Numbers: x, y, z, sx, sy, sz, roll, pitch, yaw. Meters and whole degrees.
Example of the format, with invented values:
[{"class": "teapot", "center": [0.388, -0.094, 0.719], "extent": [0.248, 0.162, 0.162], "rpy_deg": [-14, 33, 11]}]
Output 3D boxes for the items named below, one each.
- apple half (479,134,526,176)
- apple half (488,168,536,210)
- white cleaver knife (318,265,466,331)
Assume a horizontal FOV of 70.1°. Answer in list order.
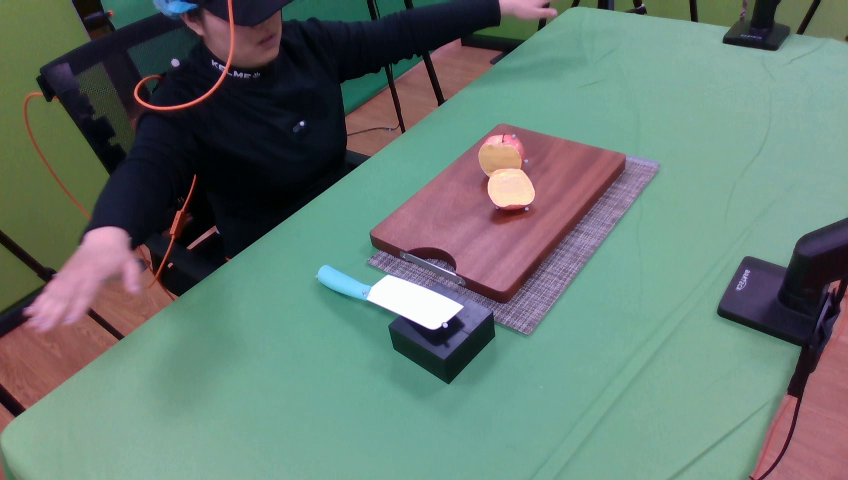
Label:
[{"class": "apple half", "center": [0.141, -0.149, 1.052], "extent": [0.080, 0.075, 0.053], "rpy_deg": [7, 39, 24]}, {"class": "apple half", "center": [0.143, -0.080, 0.995], "extent": [0.081, 0.033, 0.081], "rpy_deg": [1, 63, -1]}, {"class": "white cleaver knife", "center": [-0.056, 0.075, 0.871], "extent": [0.284, 0.021, 0.066], "rpy_deg": [17, 42, 43]}]
